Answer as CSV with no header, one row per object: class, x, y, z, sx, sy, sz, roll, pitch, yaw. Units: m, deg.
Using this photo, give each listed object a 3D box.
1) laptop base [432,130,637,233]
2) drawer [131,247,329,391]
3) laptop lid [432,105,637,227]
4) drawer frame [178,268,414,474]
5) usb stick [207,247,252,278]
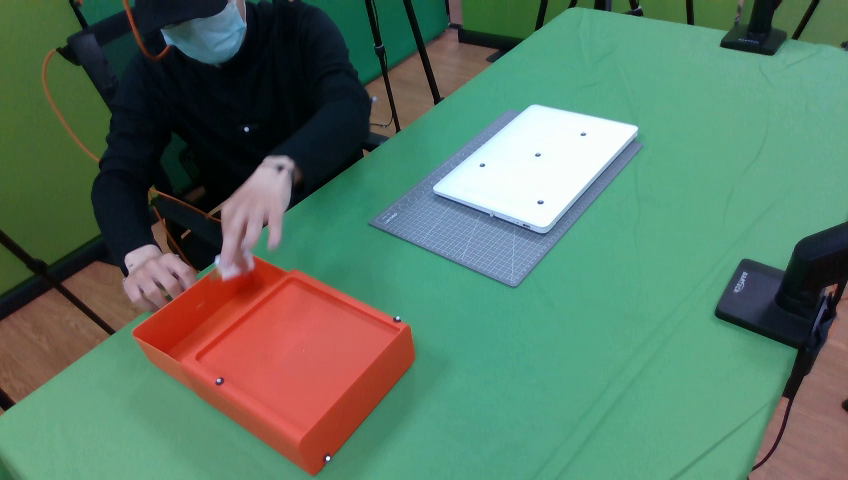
laptop base,0.210,-0.142,1.111,0.233,0.023,0.355,21,48,34
drawer,-0.245,0.121,0.821,0.210,0.073,0.195,21,47,29
laptop lid,0.207,-0.152,1.105,0.239,0.013,0.358,23,49,34
drawer frame,-0.157,0.152,0.769,0.212,0.083,0.202,22,47,29
usb stick,-0.265,0.032,0.817,0.059,0.027,0.021,-26,39,-29
